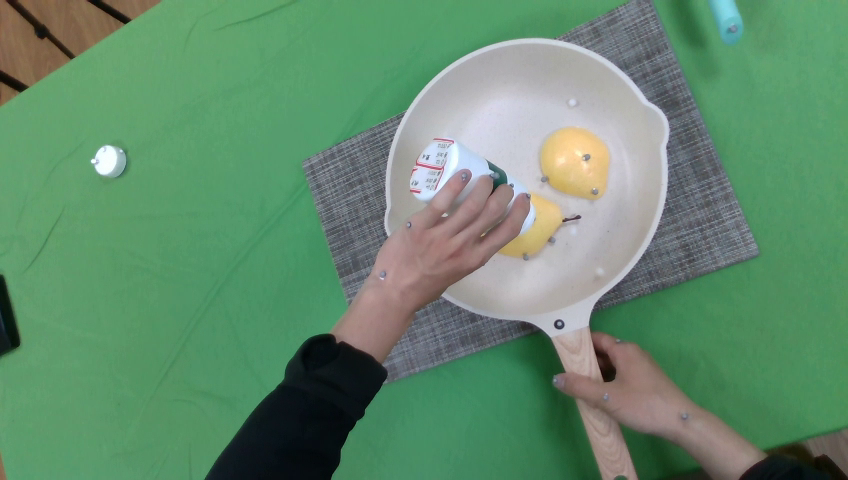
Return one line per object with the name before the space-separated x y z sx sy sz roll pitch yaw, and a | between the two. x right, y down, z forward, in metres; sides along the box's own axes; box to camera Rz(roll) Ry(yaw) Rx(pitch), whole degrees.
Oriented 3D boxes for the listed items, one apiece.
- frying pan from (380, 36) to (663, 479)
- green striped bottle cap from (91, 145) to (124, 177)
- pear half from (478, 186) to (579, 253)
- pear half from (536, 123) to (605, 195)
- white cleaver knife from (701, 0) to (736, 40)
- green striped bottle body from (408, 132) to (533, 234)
frying pan | 0.126 0.032 0.624 0.306 0.103 0.484 -20 74 17
green striped bottle cap | -0.452 -0.113 0.866 0.044 0.020 0.044 -1 87 19
pear half | 0.111 -0.025 0.656 0.109 0.056 0.076 -9 91 16
pear half | 0.159 -0.088 0.654 0.070 0.031 0.087 -38 73 18
white cleaver knife | 0.257 -0.333 0.616 0.021 0.066 0.285 -20 80 22
green striped bottle body | 0.049 -0.047 0.563 0.063 0.120 0.062 -32 45 39
